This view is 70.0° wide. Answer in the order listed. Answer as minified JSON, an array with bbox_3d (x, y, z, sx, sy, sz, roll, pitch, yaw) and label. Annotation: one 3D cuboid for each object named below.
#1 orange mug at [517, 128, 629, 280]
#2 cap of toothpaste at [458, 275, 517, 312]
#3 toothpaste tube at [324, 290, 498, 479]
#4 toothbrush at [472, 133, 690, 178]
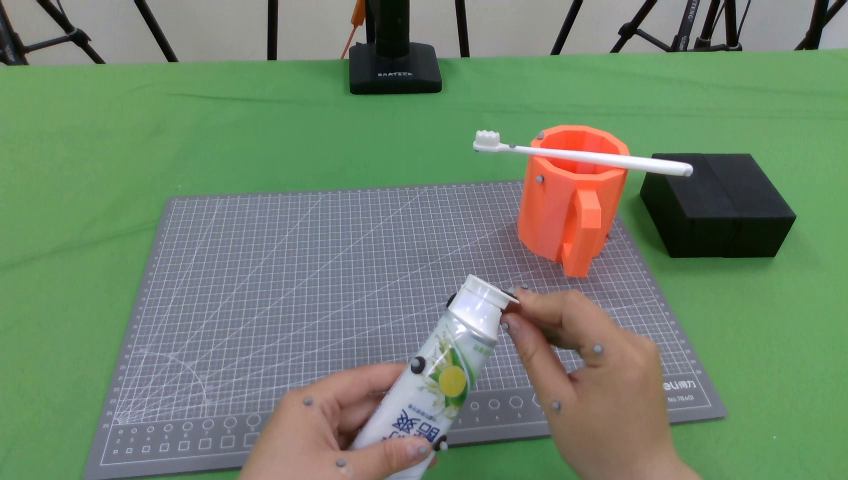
[{"bbox_3d":[0.133,-0.029,0.542,0.083,0.101,0.125,2,38,0],"label":"orange mug"},{"bbox_3d":[0.036,0.032,0.349,0.037,0.037,0.011,26,89,24],"label":"cap of toothpaste"},{"bbox_3d":[-0.006,0.100,0.349,0.055,0.165,0.034,30,0,-8],"label":"toothpaste tube"},{"bbox_3d":[0.130,-0.071,0.509,0.181,0.017,0.014,9,35,7],"label":"toothbrush"}]
